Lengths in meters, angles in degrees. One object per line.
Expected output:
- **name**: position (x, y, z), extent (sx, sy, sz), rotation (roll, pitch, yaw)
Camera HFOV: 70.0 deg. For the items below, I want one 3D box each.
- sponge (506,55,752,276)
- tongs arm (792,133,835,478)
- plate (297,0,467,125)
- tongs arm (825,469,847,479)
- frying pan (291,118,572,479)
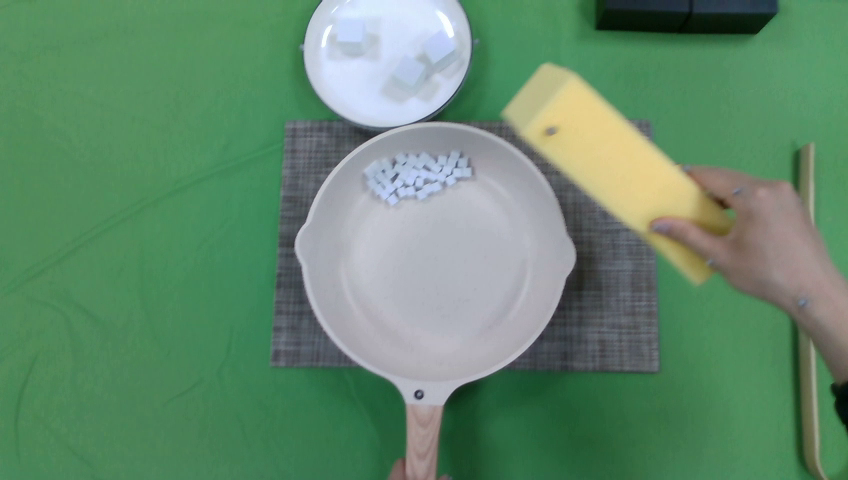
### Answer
- **sponge**: position (0.174, -0.069, 0.535), extent (0.208, 0.117, 0.061), rotation (37, 107, -14)
- **tongs arm**: position (0.439, 0.066, 0.690), extent (0.028, 0.028, 0.386), rotation (3, 81, 1)
- **plate**: position (-0.050, -0.239, 0.752), extent (0.207, 0.039, 0.207), rotation (0, 81, 2)
- **tongs arm**: position (0.518, 0.081, 0.681), extent (0.050, 0.026, 0.384), rotation (15, 83, 6)
- **frying pan**: position (0.002, 0.109, 0.658), extent (0.307, 0.103, 0.485), rotation (3, 73, 4)
